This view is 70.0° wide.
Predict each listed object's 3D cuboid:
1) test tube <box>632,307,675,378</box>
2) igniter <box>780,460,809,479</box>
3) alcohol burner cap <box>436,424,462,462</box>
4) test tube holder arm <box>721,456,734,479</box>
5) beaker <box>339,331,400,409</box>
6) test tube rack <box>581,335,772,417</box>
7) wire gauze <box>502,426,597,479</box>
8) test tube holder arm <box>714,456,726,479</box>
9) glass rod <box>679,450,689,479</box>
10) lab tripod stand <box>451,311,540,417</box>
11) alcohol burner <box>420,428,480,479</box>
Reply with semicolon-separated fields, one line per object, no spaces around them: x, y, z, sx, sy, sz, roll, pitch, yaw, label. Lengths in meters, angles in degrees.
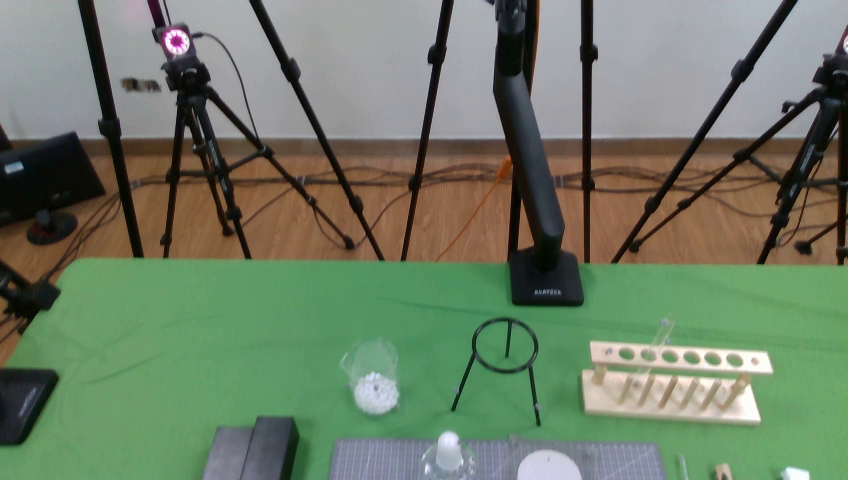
0.317;0.146;0.843;0.017;0.151;0.017;2;44;-2;test tube
0.465;0.391;0.705;0.057;0.025;0.274;13;46;0;igniter
0.031;0.247;0.748;0.034;0.048;0.033;0;40;1;alcohol burner cap
0.393;0.354;0.748;0.013;0.015;0.176;-25;38;28;test tube holder arm
-0.074;0.191;0.872;0.084;0.101;0.073;-6;45;-3;beaker
0.355;0.194;0.863;0.242;0.086;0.066;3;46;5;test tube rack
0.167;0.311;0.806;0.125;0.011;0.120;9;47;10;wire gauze
0.392;0.324;0.782;0.010;0.015;0.087;-24;38;29;test tube holder arm
0.336;0.358;0.756;0.008;0.008;0.198;5;48;6;glass rod
0.108;0.177;0.855;0.148;0.133;0.147;-1;47;2;lab tripod stand
0.032;0.273;0.773;0.078;0.120;0.077;-3;46;3;alcohol burner
